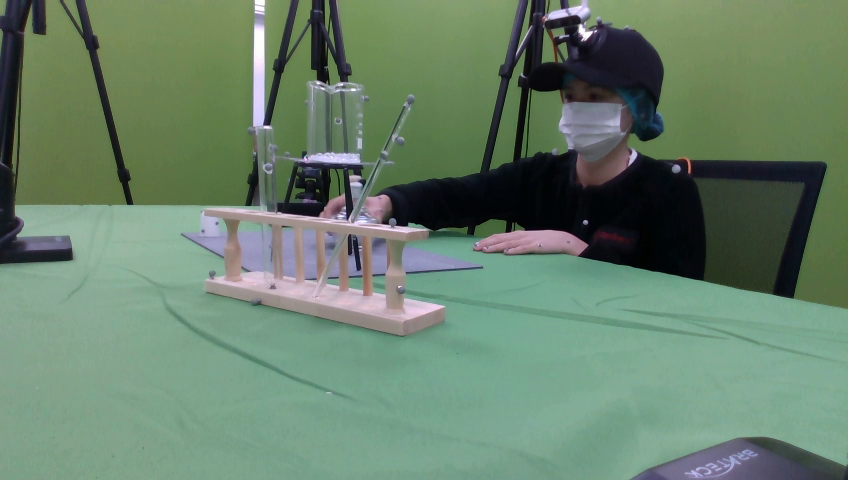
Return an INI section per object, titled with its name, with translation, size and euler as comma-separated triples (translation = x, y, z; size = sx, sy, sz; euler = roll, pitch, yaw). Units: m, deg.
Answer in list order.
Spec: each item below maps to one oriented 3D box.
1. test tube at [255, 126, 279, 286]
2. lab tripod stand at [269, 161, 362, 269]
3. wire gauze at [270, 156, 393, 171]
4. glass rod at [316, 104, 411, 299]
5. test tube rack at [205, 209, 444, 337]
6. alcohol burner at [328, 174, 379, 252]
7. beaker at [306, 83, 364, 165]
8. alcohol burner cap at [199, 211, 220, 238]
[test tube]
translation = -0.147, -0.031, 0.566
size = 0.017, 0.150, 0.017
euler = -1, 8, 0
[lab tripod stand]
translation = -0.125, -0.036, 0.794
size = 0.148, 0.131, 0.148
euler = 5, 7, 0
[wire gauze]
translation = -0.122, -0.100, 0.786
size = 0.122, 0.011, 0.124
euler = -5, 14, -38
[glass rod]
translation = -0.054, -0.026, 0.516
size = 0.008, 0.199, 0.008
euler = 23, 24, -11
[test tube rack]
translation = -0.100, 0.021, 0.565
size = 0.241, 0.085, 0.067
euler = 7, 9, 32
[alcohol burner]
translation = -0.108, -0.041, 0.922
size = 0.078, 0.119, 0.078
euler = 3, 10, 0
[beaker]
translation = -0.115, -0.147, 0.775
size = 0.074, 0.100, 0.084
euler = 2, 8, -2
[alcohol burner cap]
translation = -0.356, -0.027, 1.002
size = 0.034, 0.048, 0.034
euler = 2, 7, 0
